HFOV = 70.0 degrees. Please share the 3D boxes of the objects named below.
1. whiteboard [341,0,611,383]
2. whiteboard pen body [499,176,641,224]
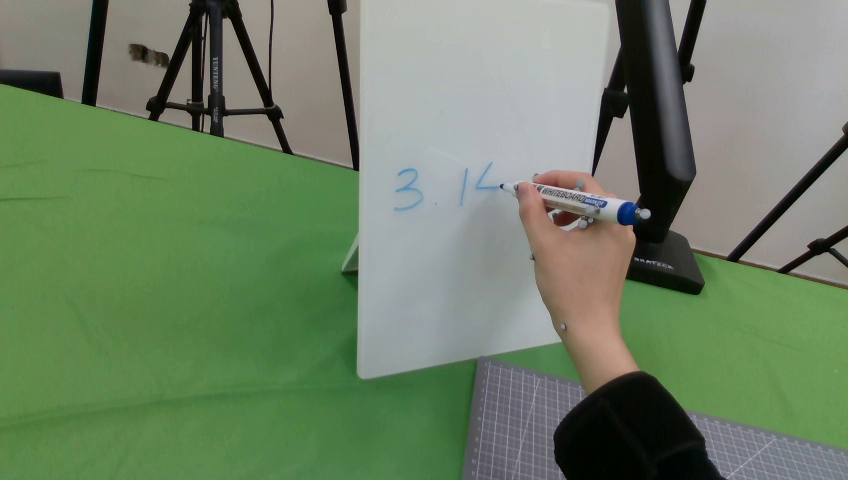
[{"bbox_3d":[0.023,-0.060,0.544,0.218,0.307,0.142,-5,18,-25],"label":"whiteboard"},{"bbox_3d":[0.095,-0.032,0.429,0.017,0.017,0.139,-7,16,-28],"label":"whiteboard pen body"}]
